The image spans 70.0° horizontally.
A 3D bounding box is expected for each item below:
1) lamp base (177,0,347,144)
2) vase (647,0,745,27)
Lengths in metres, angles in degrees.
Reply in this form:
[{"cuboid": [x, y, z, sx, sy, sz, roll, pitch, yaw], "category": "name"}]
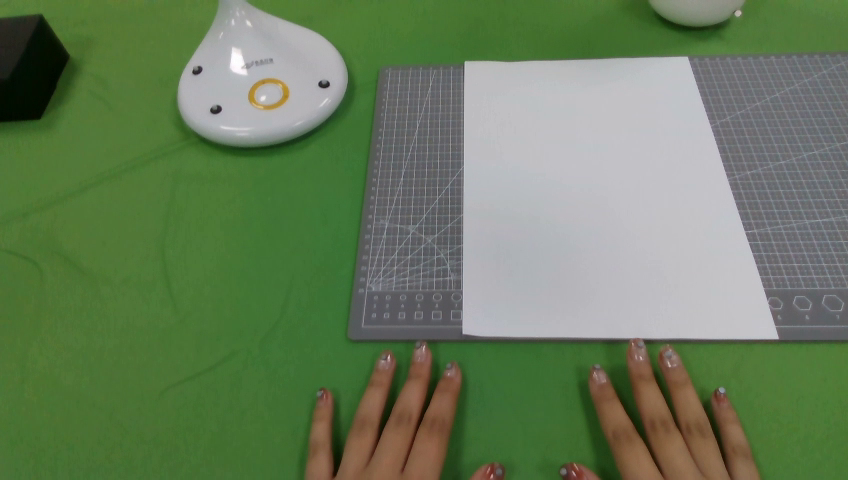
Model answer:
[{"cuboid": [-0.164, -0.204, 0.520, 0.161, 0.182, 0.177, -26, 54, -14], "category": "lamp base"}, {"cuboid": [0.264, -0.298, 0.543, 0.098, 0.202, 0.097, -3, 53, 4], "category": "vase"}]
